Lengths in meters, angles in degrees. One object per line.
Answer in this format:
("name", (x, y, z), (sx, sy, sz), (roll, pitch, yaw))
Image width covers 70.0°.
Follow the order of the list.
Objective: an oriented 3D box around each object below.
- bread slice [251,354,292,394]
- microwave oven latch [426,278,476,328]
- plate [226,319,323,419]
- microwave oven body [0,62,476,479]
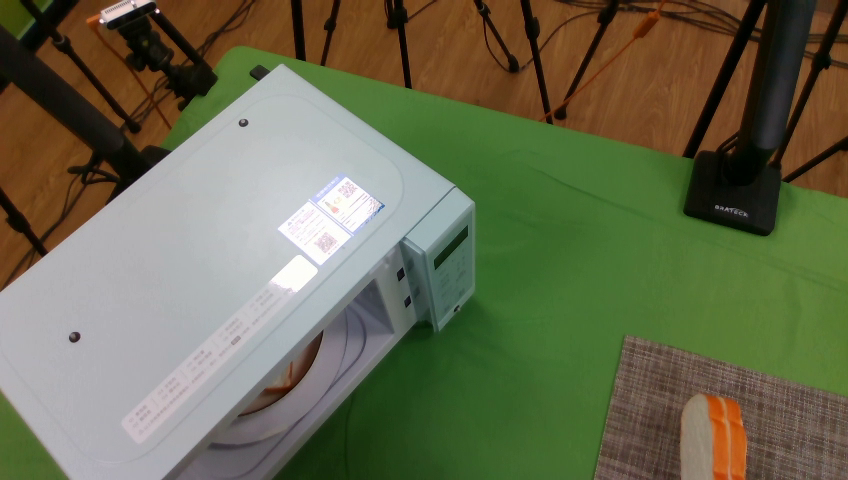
("bread slice", (-0.229, 0.146, 0.747), (0.134, 0.018, 0.106), (-7, 59, -10))
("microwave oven latch", (0.036, 0.077, 0.799), (0.030, 0.030, 0.079), (39, 73, 21))
("plate", (-0.227, 0.122, 0.752), (0.208, 0.039, 0.206), (0, 60, 0))
("microwave oven body", (-0.200, 0.070, 0.711), (0.323, 0.262, 0.441), (37, 72, 20))
